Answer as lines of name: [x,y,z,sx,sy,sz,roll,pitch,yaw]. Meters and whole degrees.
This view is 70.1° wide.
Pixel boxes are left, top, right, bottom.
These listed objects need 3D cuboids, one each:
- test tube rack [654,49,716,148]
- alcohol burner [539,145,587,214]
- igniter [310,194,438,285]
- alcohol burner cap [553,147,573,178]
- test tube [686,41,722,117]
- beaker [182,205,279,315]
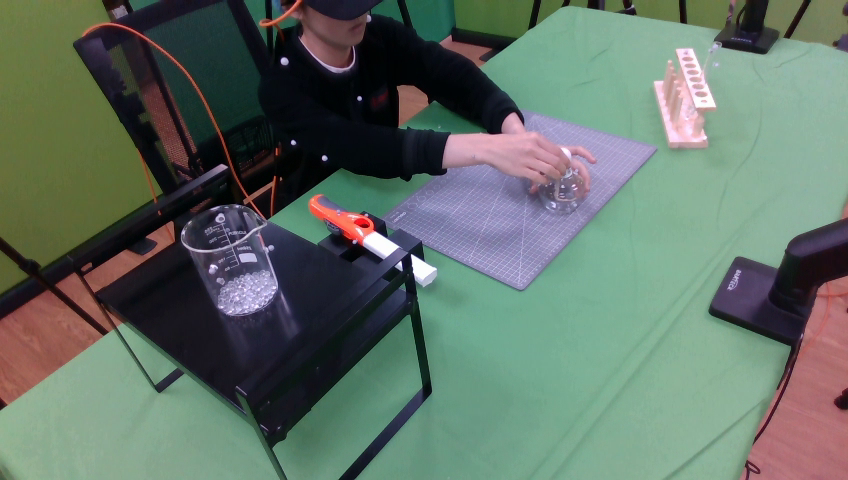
test tube rack: [0.502,-0.281,1.176,0.066,0.085,0.241,1,41,11]
alcohol burner: [0.226,-0.103,0.985,0.078,0.119,0.077,-5,41,5]
igniter: [-0.086,-0.007,0.921,0.274,0.025,0.057,31,51,34]
alcohol burner cap: [0.224,-0.126,0.964,0.034,0.048,0.033,-3,42,4]
test tube: [0.510,-0.290,1.105,0.017,0.150,0.017,2,44,-1]
beaker: [-0.197,0.024,0.641,0.084,0.101,0.073,-12,41,-6]
